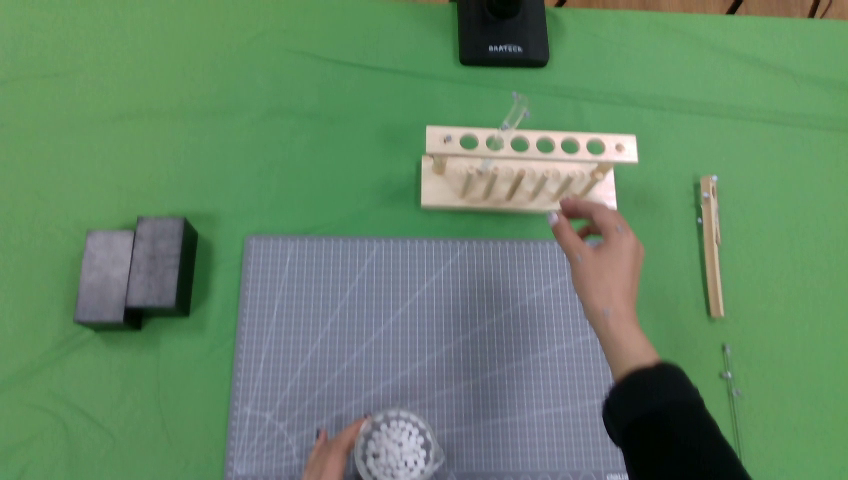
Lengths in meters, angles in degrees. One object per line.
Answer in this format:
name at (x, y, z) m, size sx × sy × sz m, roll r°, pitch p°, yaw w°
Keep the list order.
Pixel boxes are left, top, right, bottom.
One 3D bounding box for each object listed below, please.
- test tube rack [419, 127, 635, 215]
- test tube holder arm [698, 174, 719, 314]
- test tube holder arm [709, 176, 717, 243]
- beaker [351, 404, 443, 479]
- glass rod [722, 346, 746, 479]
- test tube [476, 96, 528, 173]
test tube rack at (0.118, -0.080, 0.720) m, size 0.243 × 0.085 × 0.066 m, roll 2°, pitch 71°, yaw -4°
test tube holder arm at (0.350, 0.003, 0.745) m, size 0.013 × 0.015 × 0.177 m, roll 17°, pitch 69°, yaw -31°
test tube holder arm at (0.359, -0.038, 0.762) m, size 0.010 × 0.015 × 0.087 m, roll 18°, pitch 68°, yaw -31°
beaker at (-0.026, 0.204, 0.594) m, size 0.084 × 0.101 × 0.073 m, roll 8°, pitch 70°, yaw 0°
glass rod at (0.351, 0.218, 0.682) m, size 0.008 × 0.008 × 0.198 m, roll 3°, pitch 72°, yaw -4°
test tube at (0.084, -0.113, 0.676) m, size 0.017 × 0.151 × 0.017 m, roll 4°, pitch 69°, yaw -10°
